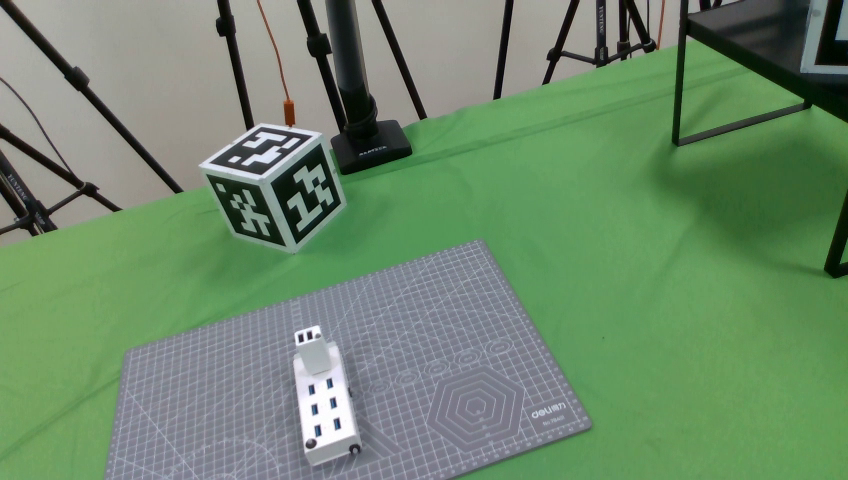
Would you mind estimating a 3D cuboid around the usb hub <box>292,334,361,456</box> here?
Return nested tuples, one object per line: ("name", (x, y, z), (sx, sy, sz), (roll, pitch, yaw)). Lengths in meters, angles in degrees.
("usb hub", (-0.099, 0.149, 0.597), (0.049, 0.025, 0.123), (-18, 38, -5))

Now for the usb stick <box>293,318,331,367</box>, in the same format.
("usb stick", (-0.110, 0.107, 0.604), (0.027, 0.060, 0.021), (-21, 41, -7))
